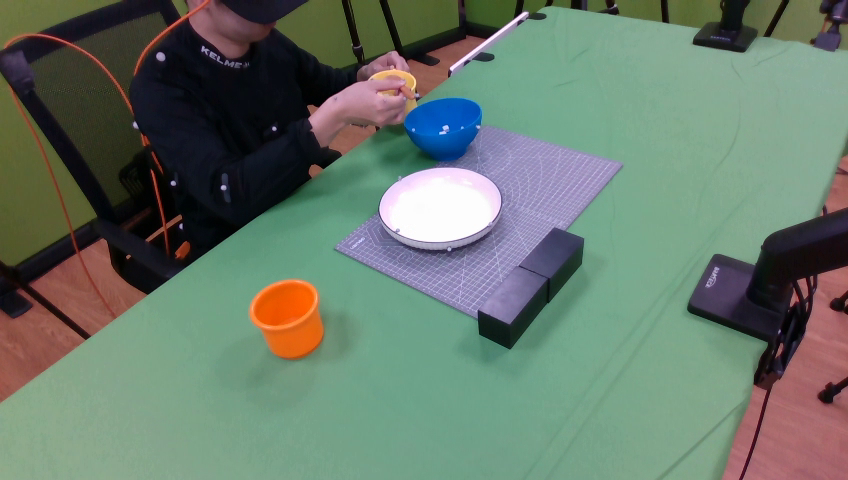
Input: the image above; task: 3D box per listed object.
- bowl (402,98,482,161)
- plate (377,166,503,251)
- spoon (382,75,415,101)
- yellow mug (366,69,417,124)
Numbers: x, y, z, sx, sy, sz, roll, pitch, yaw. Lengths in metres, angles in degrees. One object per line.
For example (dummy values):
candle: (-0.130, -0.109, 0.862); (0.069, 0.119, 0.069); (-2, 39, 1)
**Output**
bowl: (0.040, -0.203, 1.154); (0.151, 0.077, 0.150); (-7, 37, 6)
plate: (0.027, -0.050, 1.007); (0.209, 0.038, 0.208); (-4, 41, 4)
spoon: (-0.045, -0.278, 1.100); (0.042, 0.022, 0.192); (-14, 24, -8)
yellow mug: (-0.063, -0.302, 1.235); (0.100, 0.064, 0.130); (-1, 46, 2)
